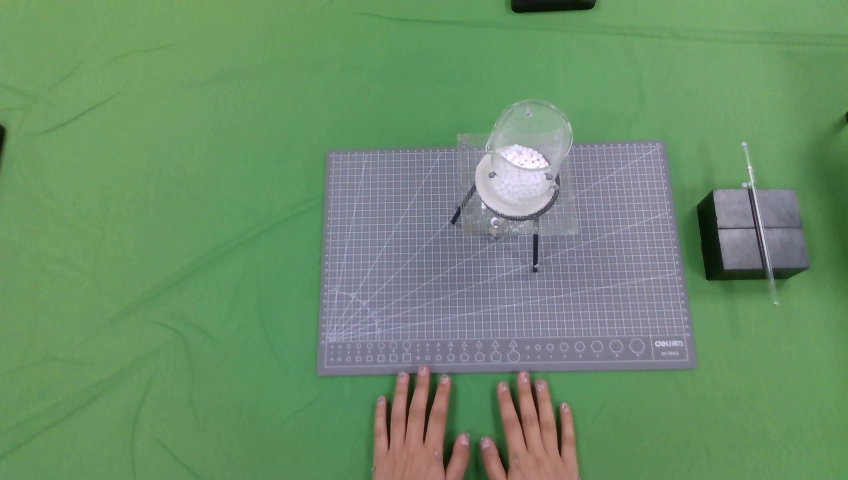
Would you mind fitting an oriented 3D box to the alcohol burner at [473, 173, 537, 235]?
[{"bbox_3d":[0.098,-0.050,0.722,0.078,0.120,0.077,0,74,1],"label":"alcohol burner"}]

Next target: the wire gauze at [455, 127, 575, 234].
[{"bbox_3d":[0.096,-0.065,0.648,0.125,0.011,0.120,0,73,-1],"label":"wire gauze"}]

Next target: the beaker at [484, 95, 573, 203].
[{"bbox_3d":[0.097,-0.084,0.603,0.084,0.101,0.073,-17,72,-4],"label":"beaker"}]

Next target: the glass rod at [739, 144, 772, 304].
[{"bbox_3d":[0.391,-0.023,0.715,0.008,0.008,0.198,-1,73,1],"label":"glass rod"}]

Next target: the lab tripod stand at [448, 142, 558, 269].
[{"bbox_3d":[0.102,-0.049,0.711,0.148,0.132,0.147,-1,71,2],"label":"lab tripod stand"}]
